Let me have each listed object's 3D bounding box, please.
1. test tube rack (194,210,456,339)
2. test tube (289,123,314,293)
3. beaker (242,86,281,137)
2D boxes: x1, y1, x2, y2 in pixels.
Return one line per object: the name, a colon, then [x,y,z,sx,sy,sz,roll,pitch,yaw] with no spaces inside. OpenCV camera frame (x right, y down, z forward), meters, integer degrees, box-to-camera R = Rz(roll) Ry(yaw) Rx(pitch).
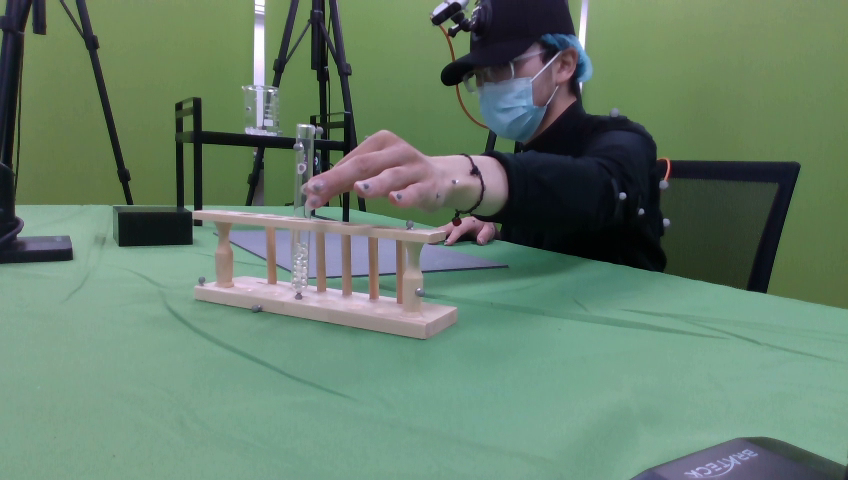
test tube rack: [-0.093,0.023,0.545,0.241,0.085,0.067,6,8,25]
test tube: [-0.108,-0.027,0.531,0.017,0.150,0.017,4,9,0]
beaker: [-0.338,-0.265,1.252,0.073,0.100,0.084,8,9,38]
